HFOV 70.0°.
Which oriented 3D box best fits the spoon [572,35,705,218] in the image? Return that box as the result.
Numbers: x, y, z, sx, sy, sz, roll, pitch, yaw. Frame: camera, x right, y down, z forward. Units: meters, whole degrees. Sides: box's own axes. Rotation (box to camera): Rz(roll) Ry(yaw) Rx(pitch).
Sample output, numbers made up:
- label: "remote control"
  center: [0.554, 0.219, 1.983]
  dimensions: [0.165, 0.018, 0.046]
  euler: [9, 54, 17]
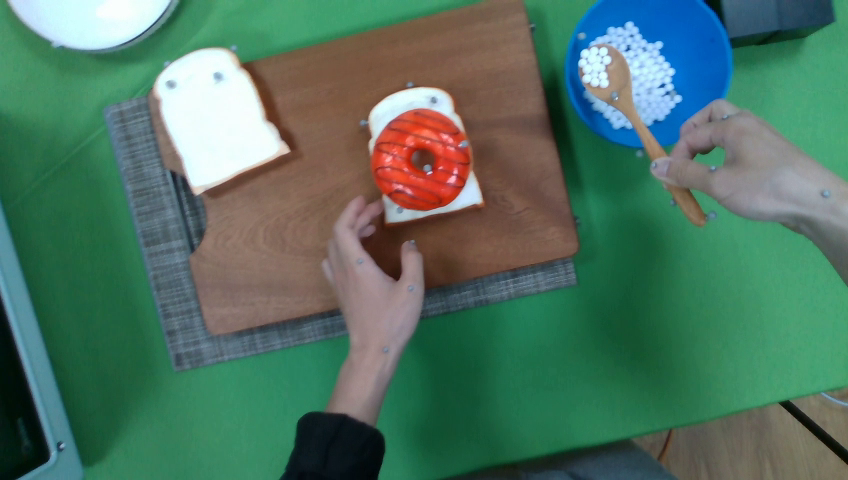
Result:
- label: "spoon"
  center: [0.175, -0.098, 0.499]
  dimensions: [0.041, 0.022, 0.192]
  euler: [-26, 60, 11]

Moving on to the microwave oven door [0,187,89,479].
- label: "microwave oven door"
  center: [-0.441, 0.094, 0.547]
  dimensions: [0.039, 0.243, 0.356]
  euler: [-16, 92, 5]

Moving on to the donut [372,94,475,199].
- label: "donut"
  center: [0.000, -0.088, 0.578]
  dimensions: [0.099, 0.048, 0.099]
  euler: [0, 95, 3]

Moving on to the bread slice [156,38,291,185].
- label: "bread slice"
  center: [-0.211, -0.134, 0.616]
  dimensions: [0.107, 0.018, 0.134]
  euler: [-27, 91, 4]

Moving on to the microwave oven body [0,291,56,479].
- label: "microwave oven body"
  center: [-0.593, 0.092, 0.561]
  dimensions: [0.326, 0.260, 0.442]
  euler: [-15, 93, 4]

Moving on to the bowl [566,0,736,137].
- label: "bowl"
  center: [0.209, -0.171, 0.587]
  dimensions: [0.151, 0.077, 0.151]
  euler: [0, 94, 4]

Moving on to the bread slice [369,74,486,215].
- label: "bread slice"
  center: [-0.003, -0.097, 0.608]
  dimensions: [0.105, 0.019, 0.131]
  euler: [-14, 95, 3]

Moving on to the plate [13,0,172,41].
- label: "plate"
  center: [-0.342, -0.311, 0.633]
  dimensions: [0.207, 0.039, 0.207]
  euler: [0, 94, 4]
